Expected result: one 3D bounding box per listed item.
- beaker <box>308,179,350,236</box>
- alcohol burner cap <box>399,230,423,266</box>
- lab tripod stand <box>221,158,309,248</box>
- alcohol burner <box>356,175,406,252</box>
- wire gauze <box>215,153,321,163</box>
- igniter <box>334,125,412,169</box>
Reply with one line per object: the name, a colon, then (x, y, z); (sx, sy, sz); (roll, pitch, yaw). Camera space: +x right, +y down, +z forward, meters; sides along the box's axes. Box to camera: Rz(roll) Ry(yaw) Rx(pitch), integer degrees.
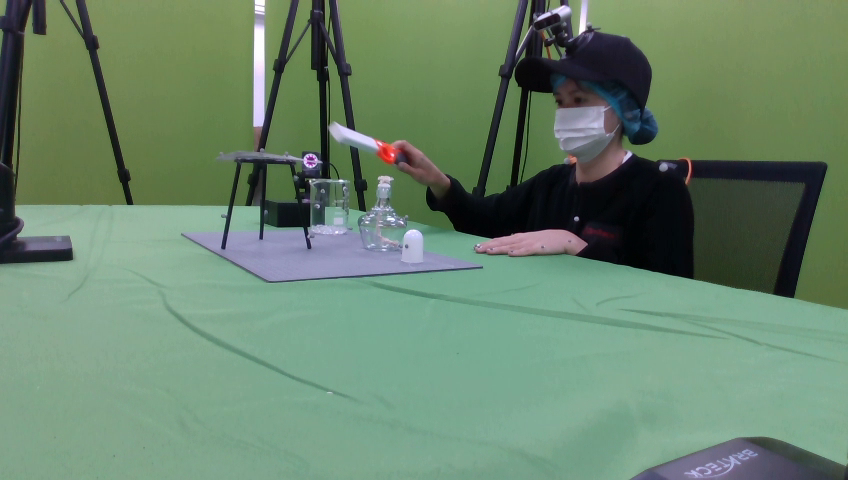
beaker: (-0.176, -0.060, 1.105); (0.073, 0.100, 0.084); (8, 10, 39)
alcohol burner cap: (-0.017, 0.010, 0.837); (0.034, 0.048, 0.034); (3, 7, 0)
lab tripod stand: (-0.244, -0.057, 0.917); (0.148, 0.131, 0.148); (1, 7, 0)
alcohol burner: (-0.066, -0.042, 0.940); (0.078, 0.119, 0.078); (4, 6, 0)
wire gauze: (-0.235, -0.123, 0.906); (0.126, 0.011, 0.121); (-2, 7, -33)
igniter: (-0.086, -0.169, 1.130); (0.025, 0.057, 0.277); (-34, -14, 18)
